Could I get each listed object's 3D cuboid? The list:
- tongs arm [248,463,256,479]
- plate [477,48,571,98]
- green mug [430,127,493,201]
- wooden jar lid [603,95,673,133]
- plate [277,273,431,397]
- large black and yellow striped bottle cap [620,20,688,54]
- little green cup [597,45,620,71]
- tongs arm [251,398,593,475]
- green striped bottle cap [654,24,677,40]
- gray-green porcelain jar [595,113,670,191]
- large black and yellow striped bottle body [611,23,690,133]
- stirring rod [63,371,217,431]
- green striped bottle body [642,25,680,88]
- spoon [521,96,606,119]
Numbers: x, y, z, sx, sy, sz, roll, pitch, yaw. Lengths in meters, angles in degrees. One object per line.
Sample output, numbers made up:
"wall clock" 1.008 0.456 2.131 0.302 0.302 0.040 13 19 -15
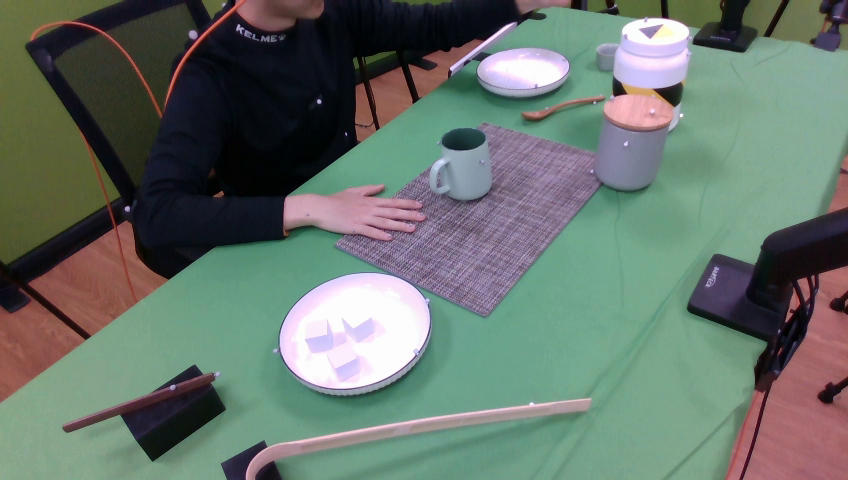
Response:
"tongs arm" 0.012 0.262 0.615 0.385 0.026 0.050 2 41 -2
"plate" 0.223 -0.371 1.357 0.209 0.038 0.208 -4 41 4
"green mug" 0.059 -0.122 1.034 0.126 0.105 0.091 -35 48 -28
"wooden jar lid" 0.343 -0.200 0.974 0.108 0.021 0.108 -2 39 2
"plate" -0.092 0.129 0.821 0.207 0.039 0.206 -4 40 4
"large black and yellow striped bottle cap" 0.411 -0.363 1.080 0.115 0.019 0.114 -3 42 4
"little green cup" 0.423 -0.413 1.376 0.061 0.039 0.061 -4 41 4
"tongs arm" 0.008 0.212 0.675 0.389 0.028 0.028 -5 46 -11
"green striped bottle cap" 0.495 -0.426 1.237 0.044 0.020 0.044 -5 42 5
"gray-green porcelain jar" 0.346 -0.155 1.017 0.106 0.127 0.105 -2 44 2
"large black and yellow striped bottle body" 0.420 -0.299 1.132 0.131 0.185 0.130 -5 40 4
"stirring rod" -0.337 0.192 0.723 0.177 0.014 0.005 -18 43 -12
"green striped bottle body" 0.499 -0.387 1.271 0.063 0.120 0.063 -4 41 4
"spoon" 0.291 -0.277 1.249 0.194 0.022 0.041 -18 23 -12
